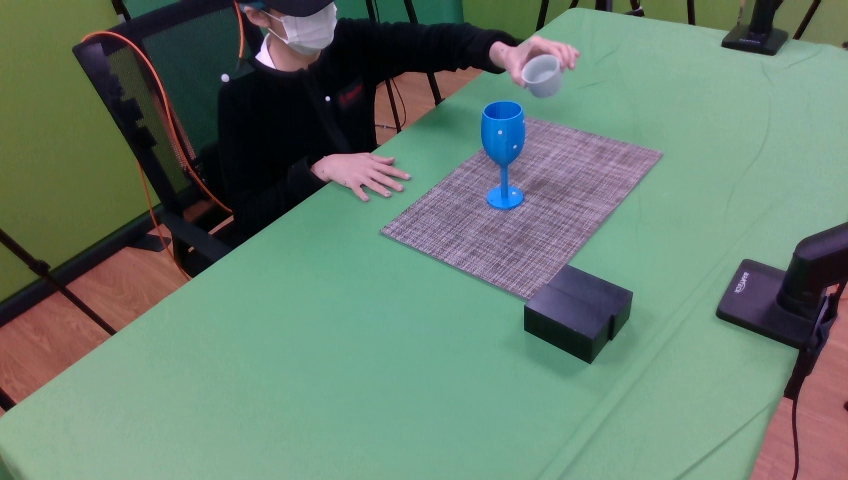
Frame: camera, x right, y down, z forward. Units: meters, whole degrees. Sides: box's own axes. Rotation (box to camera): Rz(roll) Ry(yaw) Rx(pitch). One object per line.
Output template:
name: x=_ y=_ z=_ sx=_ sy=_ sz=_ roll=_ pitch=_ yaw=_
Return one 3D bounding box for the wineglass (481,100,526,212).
wineglass: x=0.131 y=-0.137 z=0.993 sx=0.074 sy=0.173 sz=0.073 roll=-5 pitch=40 yaw=4

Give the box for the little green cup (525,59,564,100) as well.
little green cup: x=0.198 y=-0.260 z=0.986 sx=0.061 sy=0.039 sz=0.061 roll=-13 pitch=51 yaw=17
